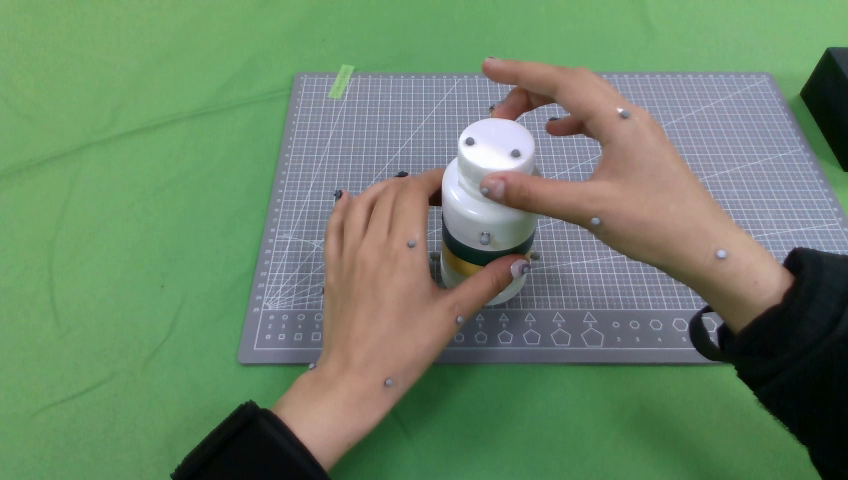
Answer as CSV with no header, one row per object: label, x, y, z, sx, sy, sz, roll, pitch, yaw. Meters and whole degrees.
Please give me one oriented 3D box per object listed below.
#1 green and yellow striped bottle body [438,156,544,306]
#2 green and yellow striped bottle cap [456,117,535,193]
green and yellow striped bottle body,0.041,-0.013,0.391,0.063,0.121,0.062,0,53,1
green and yellow striped bottle cap,0.041,-0.049,0.345,0.045,0.020,0.045,-1,53,2
